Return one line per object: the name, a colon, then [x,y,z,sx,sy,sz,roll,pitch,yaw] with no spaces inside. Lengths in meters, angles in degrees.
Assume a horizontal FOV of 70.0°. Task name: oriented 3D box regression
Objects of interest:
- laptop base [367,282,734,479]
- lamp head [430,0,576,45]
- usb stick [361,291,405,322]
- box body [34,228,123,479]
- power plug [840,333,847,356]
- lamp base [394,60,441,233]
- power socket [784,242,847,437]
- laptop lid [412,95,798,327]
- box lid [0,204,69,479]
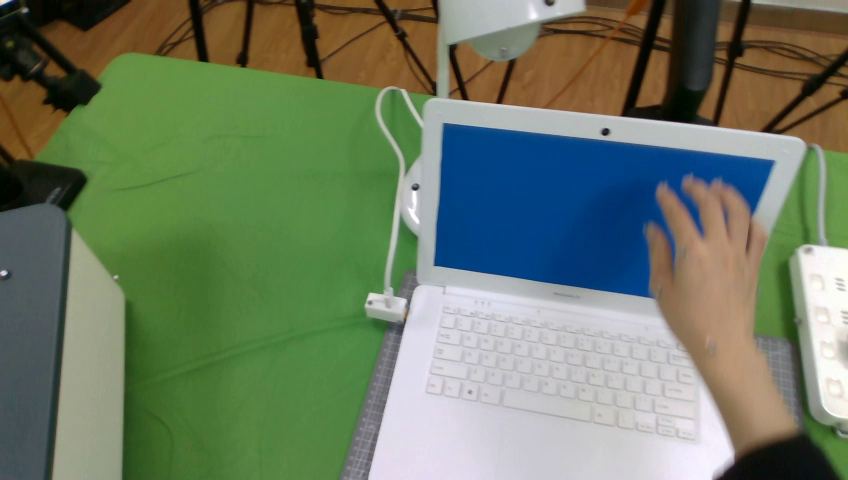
laptop base: [0.136,0.173,0.635,0.354,0.023,0.234,8,61,8]
lamp head: [0.050,-0.220,0.464,0.112,0.112,0.123,-17,101,-8]
usb stick: [-0.040,0.077,0.690,0.059,0.027,0.021,12,54,8]
box body: [-0.442,0.178,0.575,0.254,0.162,0.360,-13,58,-6]
power plug: [0.468,0.116,0.620,0.072,0.053,0.035,18,59,12]
lamp base: [0.032,-0.109,0.726,0.161,0.182,0.177,-24,56,-12]
power socket: [0.446,0.098,0.660,0.072,0.033,0.225,8,58,7]
laptop lid: [0.162,-0.022,0.629,0.356,0.243,0.013,6,35,8]
box lid: [-0.445,0.135,0.513,0.263,0.015,0.367,-13,59,-6]
